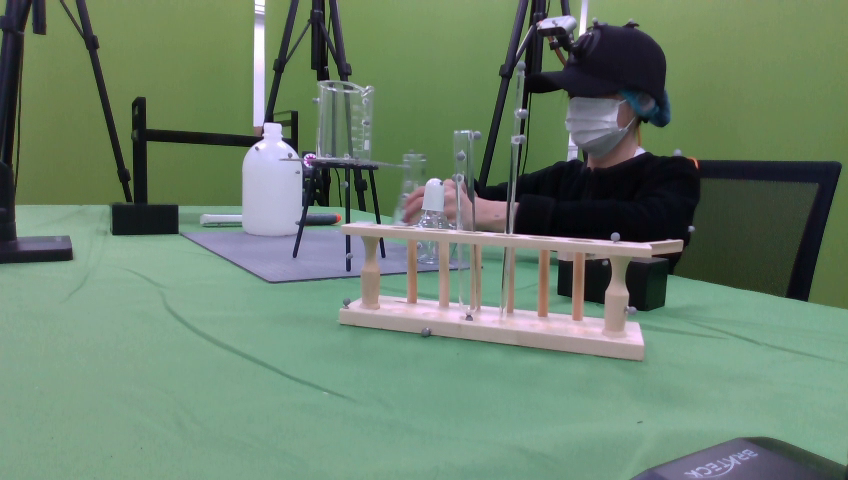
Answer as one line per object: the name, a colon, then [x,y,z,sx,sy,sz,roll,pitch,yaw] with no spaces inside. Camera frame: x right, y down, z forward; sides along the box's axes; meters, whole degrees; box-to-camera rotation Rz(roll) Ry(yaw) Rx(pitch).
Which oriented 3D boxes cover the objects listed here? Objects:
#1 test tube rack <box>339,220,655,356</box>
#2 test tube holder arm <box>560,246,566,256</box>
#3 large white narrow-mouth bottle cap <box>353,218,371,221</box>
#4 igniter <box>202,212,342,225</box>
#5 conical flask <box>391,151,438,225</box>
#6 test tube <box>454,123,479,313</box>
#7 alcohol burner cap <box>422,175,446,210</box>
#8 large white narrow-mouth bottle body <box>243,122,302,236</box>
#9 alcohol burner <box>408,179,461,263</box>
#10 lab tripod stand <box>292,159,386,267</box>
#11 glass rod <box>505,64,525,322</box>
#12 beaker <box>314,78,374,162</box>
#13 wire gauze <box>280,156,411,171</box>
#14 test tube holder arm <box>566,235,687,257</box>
test tube rack: [0.056,0.032,0.495,0.242,0.085,0.067,4,7,15]
test tube holder arm: [0.173,0.007,0.611,0.088,0.015,0.010,-3,9,-30]
large white narrow-mouth bottle cap: [-0.121,-0.029,1.184,0.038,0.024,0.037,2,8,0]
igniter: [-0.298,-0.043,1.216,0.278,0.025,0.057,-3,-2,-32]
conical flask: [-0.015,-0.079,0.956,0.075,0.122,0.075,0,9,0]
test tube: [0.034,-0.016,0.477,0.017,0.150,0.017,-2,9,1]
alcohol burner cap: [0.016,-0.065,0.830,0.034,0.048,0.034,7,4,0]
large white narrow-mouth bottle body: [-0.264,-0.109,1.061,0.102,0.194,0.102,2,8,0]
alcohol burner: [0.013,-0.029,0.834,0.078,0.119,0.078,0,6,0]
lab tripod stand: [-0.105,-0.039,0.797,0.148,0.131,0.148,2,5,0]
glass rod: [0.069,-0.030,0.458,0.008,0.199,0.008,0,15,0]
beaker: [-0.101,-0.151,0.775,0.074,0.100,0.083,-2,8,-39]
wire gauze: [-0.103,-0.103,0.785,0.121,0.011,0.126,11,8,42]
test tube holder arm: [0.215,0.006,0.630,0.179,0.015,0.013,-3,9,-30]
